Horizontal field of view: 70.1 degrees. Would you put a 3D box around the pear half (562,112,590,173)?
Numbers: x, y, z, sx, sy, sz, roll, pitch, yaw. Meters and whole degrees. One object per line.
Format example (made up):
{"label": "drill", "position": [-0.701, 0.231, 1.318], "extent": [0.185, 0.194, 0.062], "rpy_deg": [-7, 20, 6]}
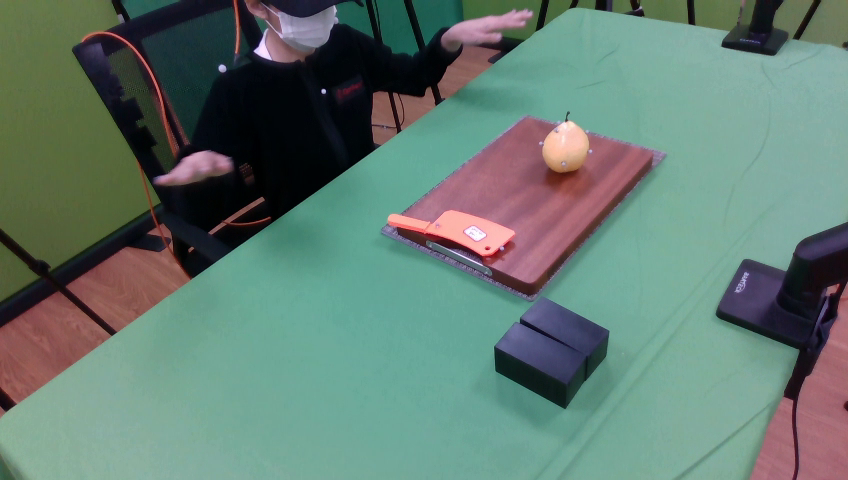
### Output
{"label": "pear half", "position": [0.253, -0.172, 1.027], "extent": [0.056, 0.110, 0.075], "rpy_deg": [-18, 46, -10]}

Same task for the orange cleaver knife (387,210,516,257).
{"label": "orange cleaver knife", "position": [0.041, -0.020, 0.953], "extent": [0.210, 0.012, 0.077], "rpy_deg": [16, 48, 29]}

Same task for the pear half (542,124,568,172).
{"label": "pear half", "position": [0.220, -0.155, 1.028], "extent": [0.031, 0.088, 0.070], "rpy_deg": [-18, 46, -12]}
